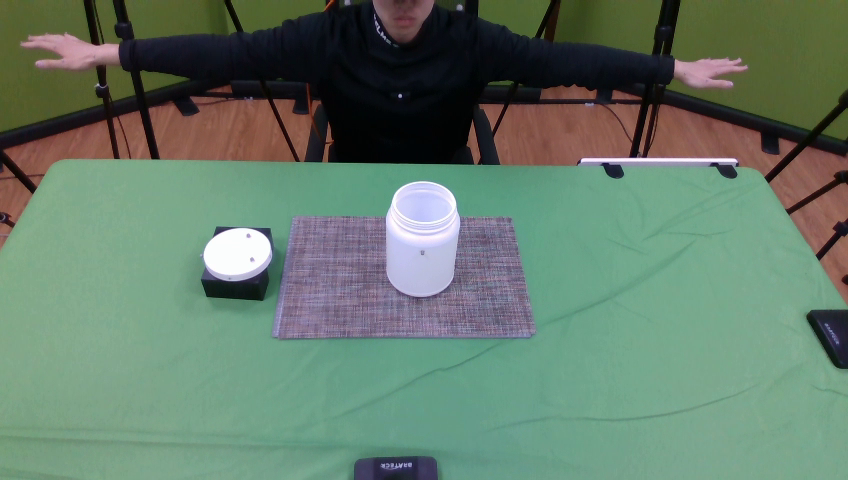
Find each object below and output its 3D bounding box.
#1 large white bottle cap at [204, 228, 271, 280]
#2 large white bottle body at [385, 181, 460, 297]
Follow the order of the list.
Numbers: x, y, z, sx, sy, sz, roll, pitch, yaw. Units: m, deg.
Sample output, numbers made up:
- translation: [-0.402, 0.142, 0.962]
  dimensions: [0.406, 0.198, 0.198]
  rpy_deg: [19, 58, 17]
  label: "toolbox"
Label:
- translation: [-0.333, 0.024, 1.084]
  dimensions: [0.115, 0.018, 0.114]
  rpy_deg: [2, 46, -2]
  label: "large white bottle cap"
- translation: [-0.004, -0.003, 1.082]
  dimensions: [0.131, 0.185, 0.130]
  rpy_deg: [2, 46, -2]
  label: "large white bottle body"
